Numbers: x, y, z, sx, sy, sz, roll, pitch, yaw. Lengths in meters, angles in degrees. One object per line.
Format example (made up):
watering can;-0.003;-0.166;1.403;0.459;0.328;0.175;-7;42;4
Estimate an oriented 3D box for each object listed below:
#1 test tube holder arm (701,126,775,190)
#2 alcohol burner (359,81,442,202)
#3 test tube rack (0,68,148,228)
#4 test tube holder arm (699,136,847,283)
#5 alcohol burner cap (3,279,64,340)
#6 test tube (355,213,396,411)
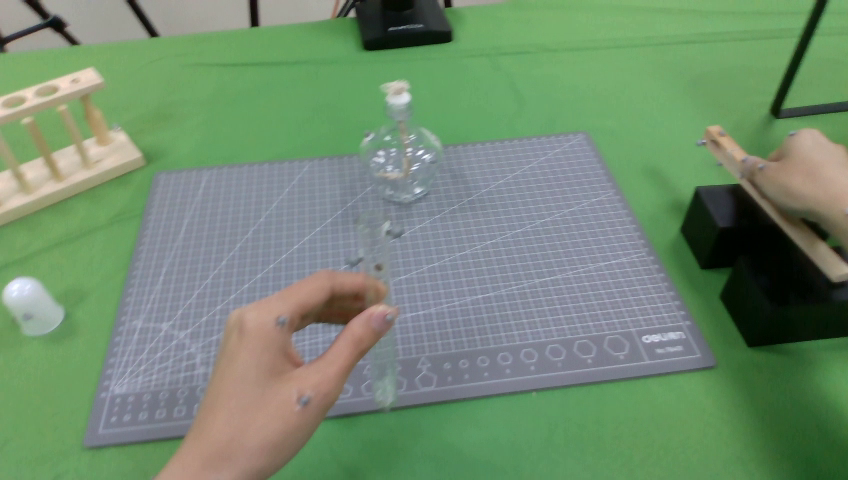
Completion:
test tube holder arm;0.268;-0.069;0.520;0.015;0.010;0.087;-10;48;-9
alcohol burner;-0.021;-0.093;0.553;0.078;0.120;0.077;1;47;0
test tube rack;-0.399;-0.068;0.560;0.242;0.086;0.066;-30;52;-26
test tube holder arm;0.279;-0.033;0.494;0.015;0.013;0.176;-10;48;-9
alcohol burner cap;-0.307;0.052;0.472;0.034;0.048;0.033;0;45;1
test tube;-0.025;0.047;0.334;0.017;0.151;0.017;0;41;0
